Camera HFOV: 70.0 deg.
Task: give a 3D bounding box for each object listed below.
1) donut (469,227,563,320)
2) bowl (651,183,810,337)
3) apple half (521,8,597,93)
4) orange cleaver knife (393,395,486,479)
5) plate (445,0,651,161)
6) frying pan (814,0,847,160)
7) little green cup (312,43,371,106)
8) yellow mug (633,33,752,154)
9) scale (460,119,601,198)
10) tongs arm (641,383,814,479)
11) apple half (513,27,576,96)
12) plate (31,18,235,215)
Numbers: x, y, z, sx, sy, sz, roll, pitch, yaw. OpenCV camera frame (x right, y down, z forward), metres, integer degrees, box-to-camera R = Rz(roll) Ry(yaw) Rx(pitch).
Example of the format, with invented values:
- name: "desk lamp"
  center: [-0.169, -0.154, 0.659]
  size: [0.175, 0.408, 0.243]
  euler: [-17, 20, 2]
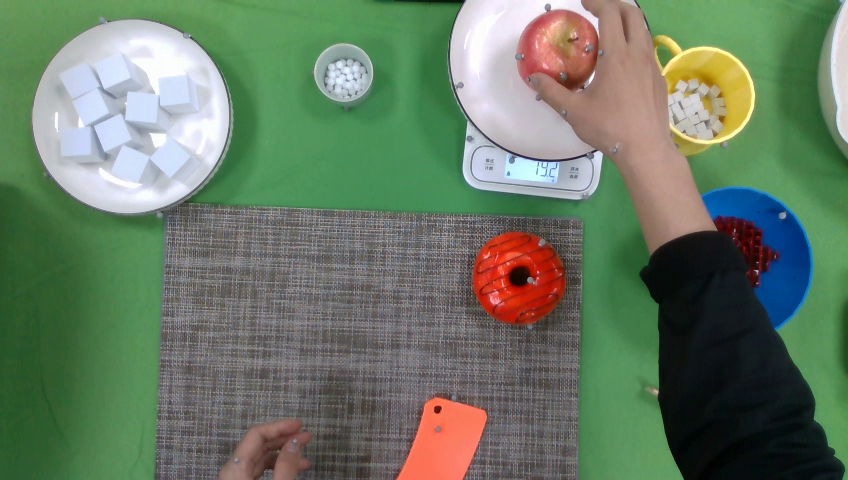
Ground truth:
- name: "donut"
  center: [0.095, 0.036, 0.634]
  size: [0.099, 0.048, 0.099]
  euler: [0, 88, 1]
- name: "bowl"
  center: [0.299, 0.021, 0.625]
  size: [0.151, 0.077, 0.151]
  euler: [0, 89, 0]
- name: "apple half"
  center: [0.137, -0.191, 0.595]
  size: [0.053, 0.075, 0.080]
  euler: [-42, 86, -5]
- name: "orange cleaver knife"
  center: [-0.009, 0.260, 0.637]
  size: [0.077, 0.012, 0.211]
  euler: [31, 86, -6]
- name: "plate"
  center: [0.124, -0.183, 0.620]
  size: [0.209, 0.038, 0.209]
  euler: [0, 88, -1]
- name: "frying pan"
  center: [0.592, -0.081, 0.618]
  size: [0.307, 0.103, 0.485]
  euler: [-25, 80, 0]
- name: "little green cup"
  center: [-0.086, -0.174, 0.647]
  size: [0.061, 0.038, 0.061]
  euler: [0, 88, 0]
- name: "yellow mug"
  center: [0.271, -0.159, 0.636]
  size: [0.100, 0.064, 0.130]
  euler: [-30, 88, 0]
- name: "scale"
  center: [0.121, -0.151, 0.652]
  size: [0.149, 0.031, 0.200]
  euler: [6, 88, 0]
- name: "tongs arm"
  center: [0.396, 0.259, 0.638]
  size: [0.387, 0.028, 0.028]
  euler: [32, 82, 0]
- name: "apple half"
  center: [0.109, -0.164, 0.592]
  size: [0.033, 0.081, 0.081]
  euler: [-42, 88, -5]
- name: "plate"
  center: [-0.302, -0.128, 0.644]
  size: [0.208, 0.039, 0.207]
  euler: [0, 88, -1]
